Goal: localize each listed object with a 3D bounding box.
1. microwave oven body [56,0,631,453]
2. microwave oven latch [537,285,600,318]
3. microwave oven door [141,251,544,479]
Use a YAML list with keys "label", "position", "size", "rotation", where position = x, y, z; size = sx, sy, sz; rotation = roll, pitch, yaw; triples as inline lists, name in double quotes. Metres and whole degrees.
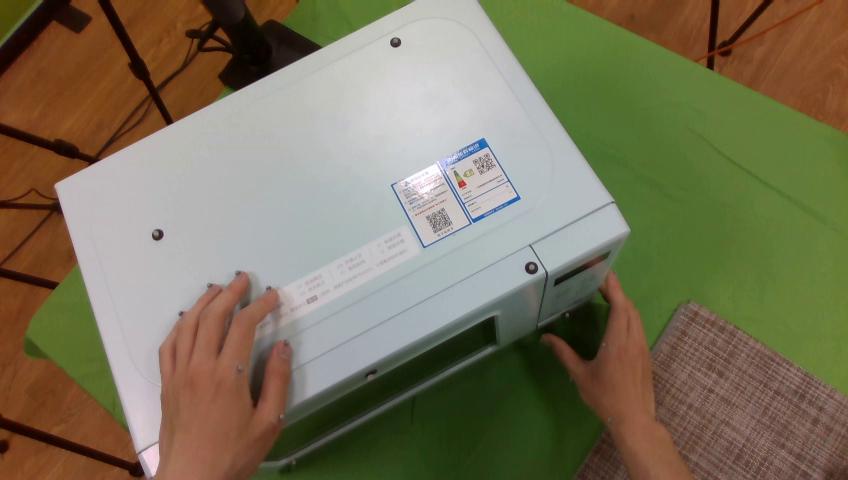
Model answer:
- label: "microwave oven body"
  position: [-0.077, -0.006, 0.646]
  size: [0.442, 0.262, 0.323]
  rotation: [-28, 71, -2]
- label: "microwave oven latch"
  position: [0.160, 0.062, 0.695]
  size: [0.079, 0.030, 0.030]
  rotation: [-22, 71, 1]
- label: "microwave oven door"
  position: [-0.049, 0.133, 0.591]
  size: [0.356, 0.245, 0.039]
  rotation: [-28, 69, -2]
